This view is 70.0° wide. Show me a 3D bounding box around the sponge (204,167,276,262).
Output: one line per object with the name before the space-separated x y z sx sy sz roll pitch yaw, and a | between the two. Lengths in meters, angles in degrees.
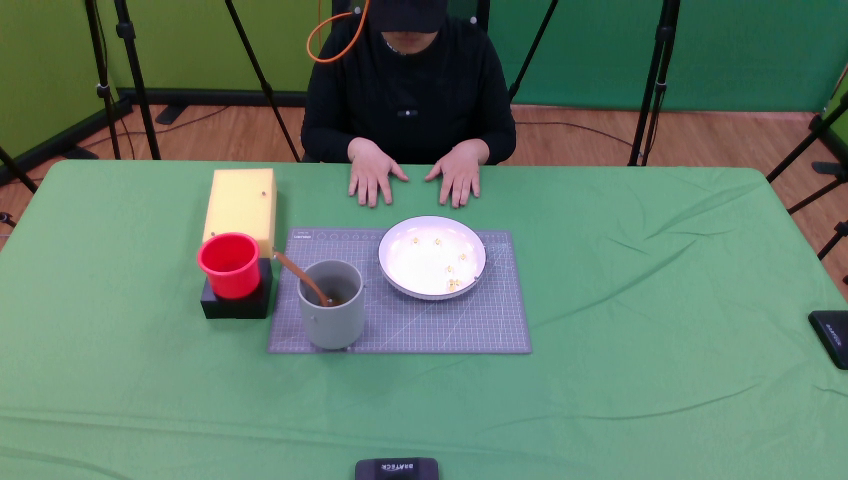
sponge | -0.358 -0.054 1.196 0.118 0.061 0.205 -4 47 -8

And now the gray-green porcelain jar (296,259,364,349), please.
gray-green porcelain jar | -0.152 0.111 1.003 0.106 0.127 0.105 2 46 -2

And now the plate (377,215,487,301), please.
plate | 0.014 0.037 1.147 0.208 0.039 0.206 2 46 -2

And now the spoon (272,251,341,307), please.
spoon | -0.180 0.077 0.981 0.021 0.195 0.041 -8 46 28
